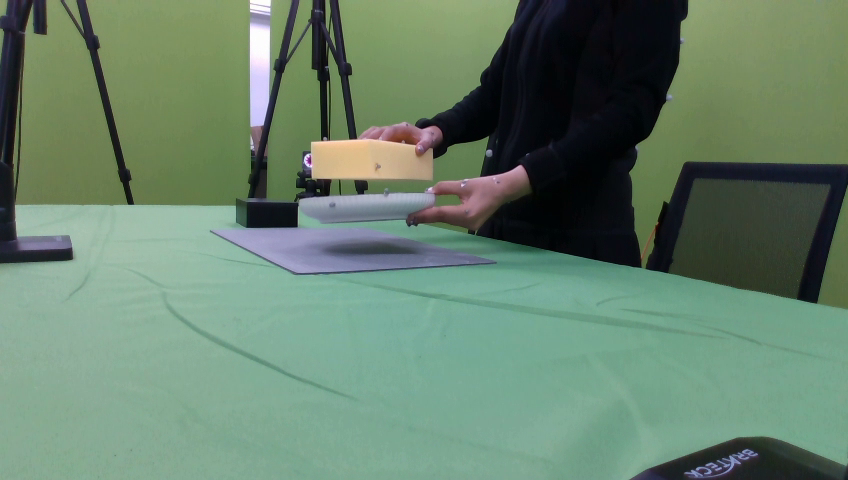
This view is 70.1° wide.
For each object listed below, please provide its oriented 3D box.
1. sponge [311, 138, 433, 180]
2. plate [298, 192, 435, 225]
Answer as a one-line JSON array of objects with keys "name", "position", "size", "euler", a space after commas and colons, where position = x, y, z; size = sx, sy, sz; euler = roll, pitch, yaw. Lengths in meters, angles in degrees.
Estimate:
[{"name": "sponge", "position": [-0.083, -0.135, 1.039], "size": [0.118, 0.061, 0.208], "euler": [2, 5, 28]}, {"name": "plate", "position": [-0.085, -0.047, 0.919], "size": [0.209, 0.038, 0.209], "euler": [-4, 1, 0]}]
